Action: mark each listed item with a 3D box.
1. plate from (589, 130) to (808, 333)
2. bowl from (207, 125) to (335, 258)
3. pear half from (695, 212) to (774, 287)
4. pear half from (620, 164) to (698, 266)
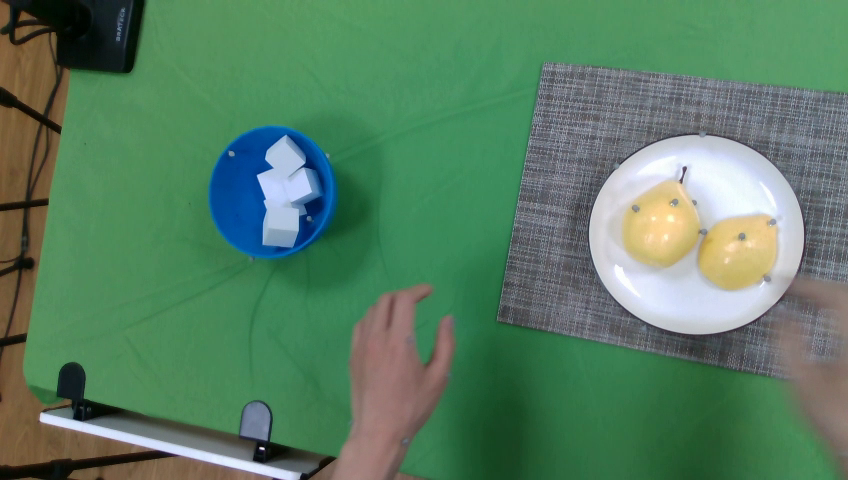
[{"bbox_3d":[0.278,-0.009,0.631,0.207,0.039,0.207,-1,87,12],"label":"plate"},{"bbox_3d":[-0.166,-0.052,0.711,0.151,0.077,0.151,-1,87,12],"label":"bowl"},{"bbox_3d":[0.322,0.007,0.616,0.070,0.031,0.088,42,102,7],"label":"pear half"},{"bbox_3d":[0.248,-0.031,0.624,0.076,0.056,0.109,20,88,8],"label":"pear half"}]
